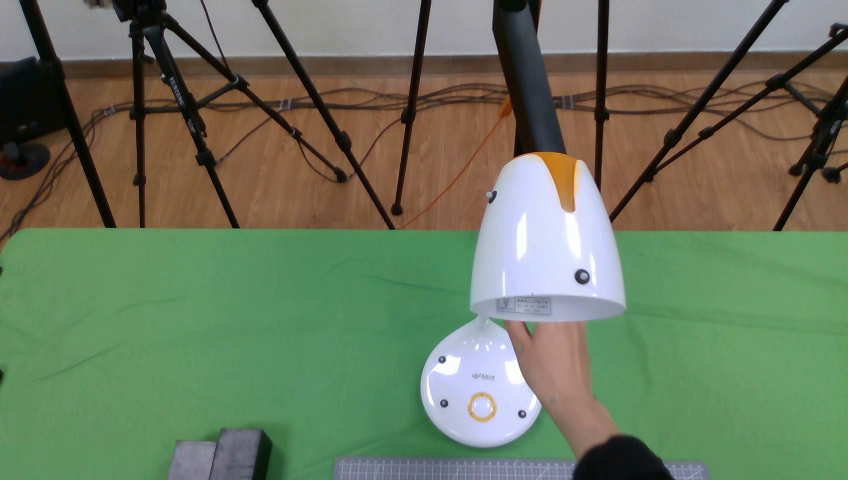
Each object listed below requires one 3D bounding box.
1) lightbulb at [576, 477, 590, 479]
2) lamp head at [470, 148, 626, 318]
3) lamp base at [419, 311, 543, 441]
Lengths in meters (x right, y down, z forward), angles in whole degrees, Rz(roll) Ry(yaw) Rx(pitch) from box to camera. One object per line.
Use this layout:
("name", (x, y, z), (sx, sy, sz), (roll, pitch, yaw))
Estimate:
("lightbulb", (0.214, 0.306, 0.681), (0.059, 0.060, 0.106), (-39, 46, -23))
("lamp head", (0.089, -0.004, 0.456), (0.112, 0.113, 0.122), (0, 69, 2))
("lamp base", (0.069, 0.129, 0.736), (0.161, 0.182, 0.177), (-4, 52, 0))
